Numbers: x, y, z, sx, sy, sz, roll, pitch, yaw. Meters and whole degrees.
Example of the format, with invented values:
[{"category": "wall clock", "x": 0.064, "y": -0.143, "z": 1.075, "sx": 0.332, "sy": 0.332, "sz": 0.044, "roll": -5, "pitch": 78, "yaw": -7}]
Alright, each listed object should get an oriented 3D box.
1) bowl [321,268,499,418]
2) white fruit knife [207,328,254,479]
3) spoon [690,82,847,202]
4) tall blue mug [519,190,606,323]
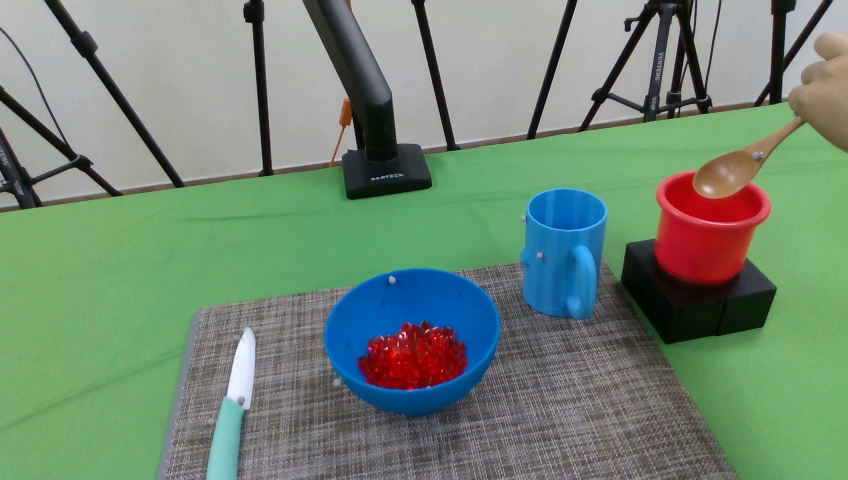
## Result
[{"category": "bowl", "x": -0.009, "y": 0.102, "z": 0.534, "sx": 0.151, "sy": 0.077, "sz": 0.150, "roll": -3, "pitch": 37, "yaw": 3}, {"category": "white fruit knife", "x": -0.169, "y": 0.150, "z": 0.542, "sx": 0.027, "sy": 0.016, "sz": 0.205, "roll": 18, "pitch": 29, "yaw": -20}, {"category": "spoon", "x": 0.313, "y": -0.095, "z": 0.506, "sx": 0.022, "sy": 0.194, "sz": 0.041, "roll": 17, "pitch": 44, "yaw": -42}, {"category": "tall blue mug", "x": 0.147, "y": 0.022, "z": 0.601, "sx": 0.078, "sy": 0.109, "sz": 0.106, "roll": -25, "pitch": 41, "yaw": -27}]
